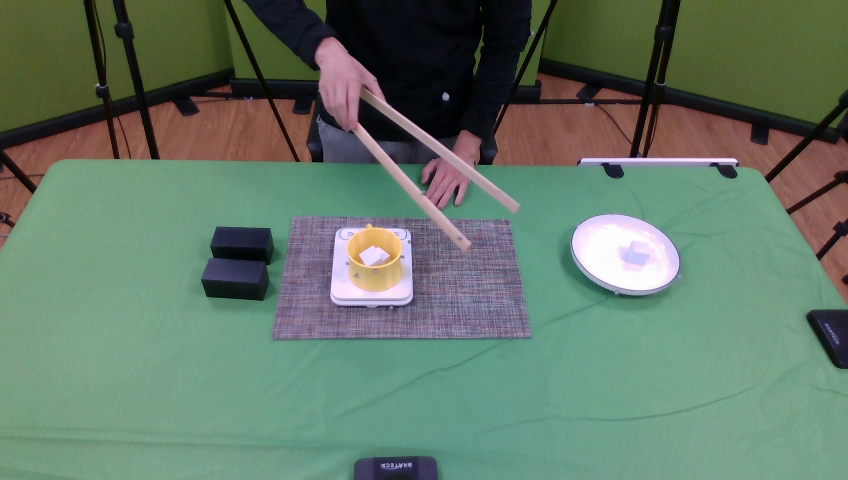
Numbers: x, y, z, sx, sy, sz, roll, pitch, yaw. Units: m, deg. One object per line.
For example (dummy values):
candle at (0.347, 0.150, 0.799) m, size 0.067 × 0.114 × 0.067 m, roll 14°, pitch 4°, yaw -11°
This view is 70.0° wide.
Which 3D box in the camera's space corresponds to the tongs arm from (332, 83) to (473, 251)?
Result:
tongs arm at (-0.039, -0.130, 1.022) m, size 0.051 × 0.026 × 0.383 m, roll -34°, pitch 71°, yaw -31°

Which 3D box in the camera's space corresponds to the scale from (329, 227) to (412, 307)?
scale at (-0.099, 0.042, 1.139) m, size 0.149 × 0.032 × 0.199 m, roll 1°, pitch 46°, yaw -4°

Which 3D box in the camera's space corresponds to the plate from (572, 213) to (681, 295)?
plate at (0.392, 0.030, 1.189) m, size 0.208 × 0.039 × 0.206 m, roll 2°, pitch 46°, yaw -2°

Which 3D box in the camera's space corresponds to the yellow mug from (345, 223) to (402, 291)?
yellow mug at (-0.092, 0.022, 1.093) m, size 0.100 × 0.064 × 0.130 m, roll -8°, pitch 46°, yaw -10°

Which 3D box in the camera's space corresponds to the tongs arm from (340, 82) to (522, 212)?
tongs arm at (0.010, -0.166, 1.063) m, size 0.387 × 0.028 × 0.028 m, roll 37°, pitch 59°, yaw 10°
